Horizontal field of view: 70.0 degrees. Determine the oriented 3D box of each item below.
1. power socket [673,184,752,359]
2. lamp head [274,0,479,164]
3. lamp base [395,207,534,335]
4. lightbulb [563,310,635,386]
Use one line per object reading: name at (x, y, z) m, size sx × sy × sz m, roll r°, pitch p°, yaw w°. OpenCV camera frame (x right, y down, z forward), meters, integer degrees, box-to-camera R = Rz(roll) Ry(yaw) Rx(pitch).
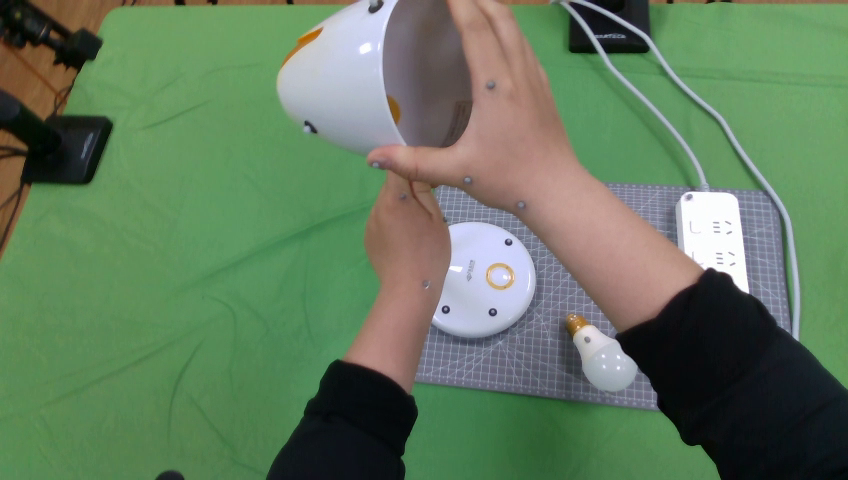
power socket at (0.351, 0.032, 0.744) m, size 0.072 × 0.033 × 0.225 m, roll 3°, pitch 66°, yaw 7°
lamp head at (-0.037, -0.105, 0.409) m, size 0.122 × 0.113 × 0.112 m, roll 4°, pitch 63°, yaw 39°
lamp base at (0.038, 0.013, 0.710) m, size 0.179 × 0.182 × 0.159 m, roll -2°, pitch 65°, yaw 9°
lightbulb at (0.201, 0.123, 0.712) m, size 0.059 × 0.060 × 0.106 m, roll -30°, pitch 52°, yaw -6°
